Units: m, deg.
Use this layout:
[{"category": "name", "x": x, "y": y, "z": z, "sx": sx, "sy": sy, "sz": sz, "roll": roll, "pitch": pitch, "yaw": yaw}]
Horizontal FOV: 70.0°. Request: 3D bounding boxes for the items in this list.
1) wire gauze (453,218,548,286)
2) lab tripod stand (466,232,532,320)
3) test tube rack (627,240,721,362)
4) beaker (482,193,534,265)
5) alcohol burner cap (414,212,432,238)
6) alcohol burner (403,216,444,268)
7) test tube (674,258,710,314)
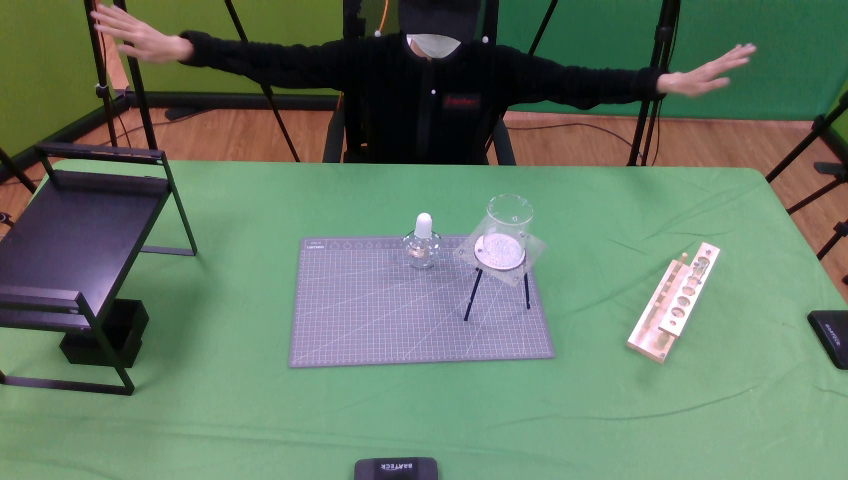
[{"category": "wire gauze", "x": 0.129, "y": 0.014, "z": 1.018, "sx": 0.124, "sy": 0.011, "sz": 0.121, "roll": 26, "pitch": 47, "yaw": 25}, {"category": "lab tripod stand", "x": 0.125, "y": 0.059, "z": 1.065, "sx": 0.148, "sy": 0.132, "sz": 0.147, "roll": 1, "pitch": 45, "yaw": 0}, {"category": "test tube rack", "x": 0.452, "y": 0.098, "z": 1.087, "sx": 0.066, "sy": 0.085, "sz": 0.242, "roll": 28, "pitch": 51, "yaw": 22}, {"category": "beaker", "x": 0.135, "y": -0.016, "z": 0.979, "sx": 0.073, "sy": 0.101, "sz": 0.084, "roll": 35, "pitch": 52, "yaw": 28}, {"category": "alcohol burner cap", "x": 0.000, "y": -0.030, "z": 1.107, "sx": 0.034, "sy": 0.048, "sz": 0.033, "roll": 4, "pitch": 41, "yaw": -3}, {"category": "alcohol burner", "x": -0.001, "y": -0.004, "z": 1.132, "sx": 0.078, "sy": 0.120, "sz": 0.077, "roll": 1, "pitch": 46, "yaw": 0}, {"category": "test tube", "x": 0.455, "y": 0.082, "z": 1.033, "sx": 0.017, "sy": 0.151, "sz": 0.017, "roll": -1, "pitch": 50, "yaw": 1}]
